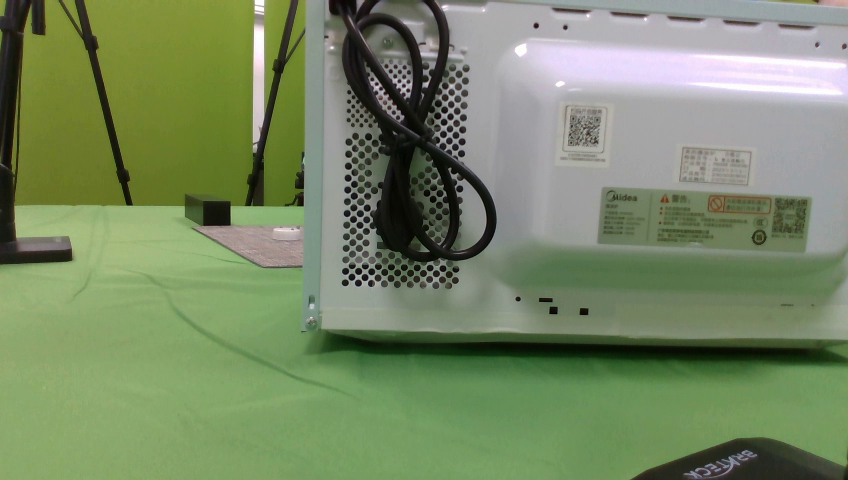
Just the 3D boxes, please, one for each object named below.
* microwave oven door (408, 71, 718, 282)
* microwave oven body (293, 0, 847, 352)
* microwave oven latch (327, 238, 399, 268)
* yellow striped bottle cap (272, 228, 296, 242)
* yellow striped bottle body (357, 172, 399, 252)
[{"bbox_3d":[0.159,-0.083,0.748,0.355,0.243,0.039,4,8,12],"label":"microwave oven door"},{"bbox_3d":[0.122,-0.055,0.551,0.442,0.260,0.325,3,7,-5],"label":"microwave oven body"},{"bbox_3d":[-0.069,0.015,0.694,0.079,0.029,0.030,3,7,-3],"label":"microwave oven latch"},{"bbox_3d":[-0.232,-0.008,1.012,0.044,0.018,0.044,4,9,0],"label":"yellow striped bottle cap"},{"bbox_3d":[-0.071,-0.044,0.933,0.063,0.120,0.063,3,8,0],"label":"yellow striped bottle body"}]
